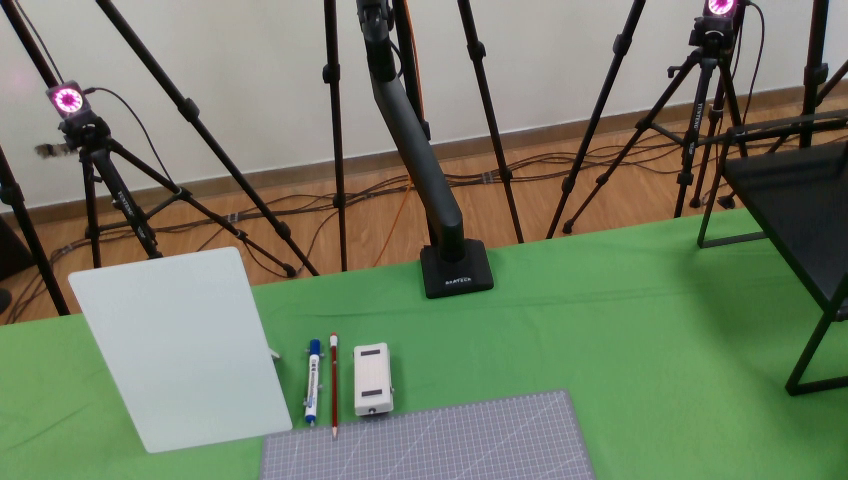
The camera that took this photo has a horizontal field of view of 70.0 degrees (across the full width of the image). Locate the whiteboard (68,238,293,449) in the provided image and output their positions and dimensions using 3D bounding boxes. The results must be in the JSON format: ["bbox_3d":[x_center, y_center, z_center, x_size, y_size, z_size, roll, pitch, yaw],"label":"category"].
[{"bbox_3d":[-0.324,0.125,0.885,0.217,0.308,0.142,-9,25,0],"label":"whiteboard"}]

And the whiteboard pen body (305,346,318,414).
[{"bbox_3d":[-0.174,0.206,0.943,0.017,0.017,0.139,-8,44,1],"label":"whiteboard pen body"}]

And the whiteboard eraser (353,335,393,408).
[{"bbox_3d":[-0.079,0.199,0.918,0.055,0.042,0.111,-10,45,0],"label":"whiteboard eraser"}]

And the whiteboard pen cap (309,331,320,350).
[{"bbox_3d":[-0.178,0.165,0.983,0.018,0.018,0.033,-10,43,-1],"label":"whiteboard pen cap"}]

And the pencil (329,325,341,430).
[{"bbox_3d":[-0.138,0.208,0.940,0.012,0.012,0.192,-11,45,-2],"label":"pencil"}]
